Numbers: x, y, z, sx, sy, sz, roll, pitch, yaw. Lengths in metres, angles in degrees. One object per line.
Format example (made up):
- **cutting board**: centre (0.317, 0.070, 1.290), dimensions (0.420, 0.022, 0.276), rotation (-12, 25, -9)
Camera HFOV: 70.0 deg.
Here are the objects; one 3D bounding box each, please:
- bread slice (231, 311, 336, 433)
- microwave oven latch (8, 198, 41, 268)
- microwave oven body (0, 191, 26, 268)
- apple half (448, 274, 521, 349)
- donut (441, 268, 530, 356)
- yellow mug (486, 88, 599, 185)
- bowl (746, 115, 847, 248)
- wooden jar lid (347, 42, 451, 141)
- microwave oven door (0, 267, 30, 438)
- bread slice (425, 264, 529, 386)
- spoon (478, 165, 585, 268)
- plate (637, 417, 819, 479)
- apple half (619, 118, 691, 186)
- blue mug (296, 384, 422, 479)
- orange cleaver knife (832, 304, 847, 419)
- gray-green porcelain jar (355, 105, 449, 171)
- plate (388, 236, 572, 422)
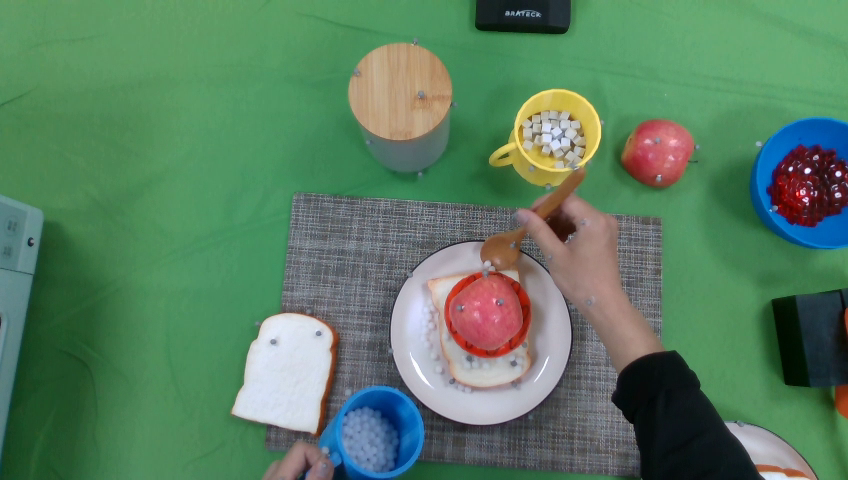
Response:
- **bread slice**: centre (-0.159, 0.148, 0.702), dimensions (0.105, 0.019, 0.131), rotation (11, 82, 2)
- **microwave oven latch**: centre (-0.473, -0.008, 0.707), dimensions (0.030, 0.029, 0.079), rotation (8, 81, 2)
- **microwave oven body**: centre (-0.637, 0.138, 0.587), dimensions (0.326, 0.261, 0.440), rotation (4, 81, 2)
- **apple half**: centre (0.065, 0.075, 0.635), dimensions (0.081, 0.033, 0.081), rotation (-1, 80, 8)
- **donut**: centre (0.068, 0.079, 0.671), dimensions (0.099, 0.048, 0.098), rotation (0, 80, 1)
- **yellow mug**: centre (0.136, -0.116, 0.721), dimensions (0.131, 0.064, 0.099), rotation (-20, 80, -2)
- **bowl**: centre (0.437, -0.059, 0.699), dimensions (0.151, 0.077, 0.151), rotation (0, 81, 2)
- **wooden jar lid**: centre (-0.026, -0.154, 0.636), dimensions (0.108, 0.021, 0.108), rotation (0, 78, 2)
- **microwave oven door**: centre (-0.496, 0.189, 0.571), dimensions (0.039, 0.244, 0.354), rotation (4, 80, 2)
- **bread slice**: centre (0.068, 0.099, 0.697), dimensions (0.107, 0.018, 0.133), rotation (-12, 78, -1)
- **spoon**: centre (0.109, -0.019, 0.624), dimensions (0.041, 0.194, 0.021), rotation (39, 57, -1)
- **plate**: centre (0.329, 0.299, 0.660), dimensions (0.209, 0.038, 0.208), rotation (0, 80, 1)
- **apple half**: centre (0.279, -0.111, 0.724), dimensions (0.074, 0.053, 0.080), rotation (26, 82, 8)
- **blue mug**: centre (-0.070, 0.201, 0.582), dimensions (0.117, 0.106, 0.082), rotation (-23, 72, -30)
- **orange cleaver knife**: centre (0.473, 0.176, 0.657), dimensions (0.012, 0.077, 0.212), rotation (-7, 102, -7)
- **gray-green porcelain jar**: centre (-0.024, -0.142, 0.698), dimensions (0.106, 0.127, 0.105), rotation (0, 80, 1)
- **plate**: centre (0.063, 0.101, 0.695), dimensions (0.207, 0.039, 0.207), rotation (0, 80, 1)
